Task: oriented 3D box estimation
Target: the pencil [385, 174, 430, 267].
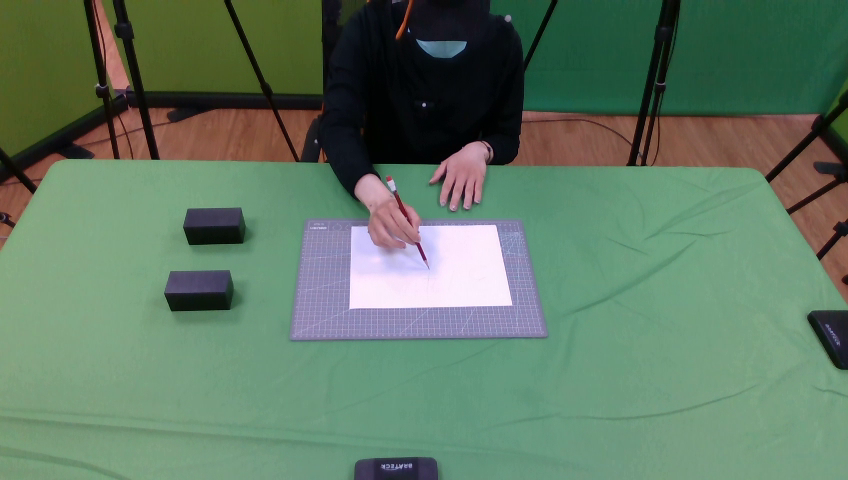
[{"bbox_3d":[-0.028,-0.034,1.127,0.012,0.194,0.012,-23,14,6],"label":"pencil"}]
